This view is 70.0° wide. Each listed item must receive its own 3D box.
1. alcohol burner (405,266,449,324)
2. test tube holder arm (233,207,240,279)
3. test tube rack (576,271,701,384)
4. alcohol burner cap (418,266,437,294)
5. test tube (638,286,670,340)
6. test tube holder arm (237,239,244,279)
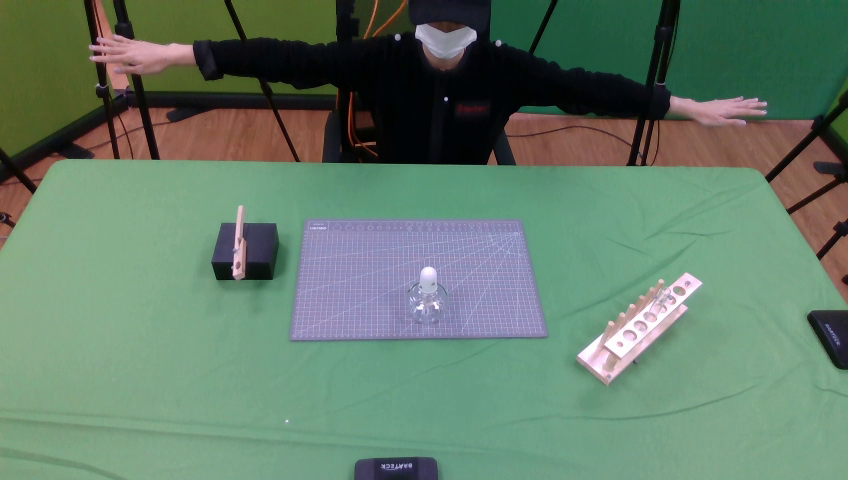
[{"bbox_3d":[0.005,0.089,1.043,0.078,0.120,0.077,1,45,-1],"label":"alcohol burner"},{"bbox_3d":[-0.341,0.002,1.106,0.013,0.015,0.177,-11,47,-9],"label":"test tube holder arm"},{"bbox_3d":[0.373,0.138,1.047,0.242,0.085,0.066,-31,56,-29],"label":"test tube rack"},{"bbox_3d":[0.006,0.065,1.017,0.034,0.048,0.033,1,48,0],"label":"alcohol burner cap"},{"bbox_3d":[0.373,0.123,0.994,0.017,0.151,0.017,0,51,0],"label":"test tube"},{"bbox_3d":[-0.325,0.032,1.076,0.010,0.015,0.087,-10,47,-8],"label":"test tube holder arm"}]
